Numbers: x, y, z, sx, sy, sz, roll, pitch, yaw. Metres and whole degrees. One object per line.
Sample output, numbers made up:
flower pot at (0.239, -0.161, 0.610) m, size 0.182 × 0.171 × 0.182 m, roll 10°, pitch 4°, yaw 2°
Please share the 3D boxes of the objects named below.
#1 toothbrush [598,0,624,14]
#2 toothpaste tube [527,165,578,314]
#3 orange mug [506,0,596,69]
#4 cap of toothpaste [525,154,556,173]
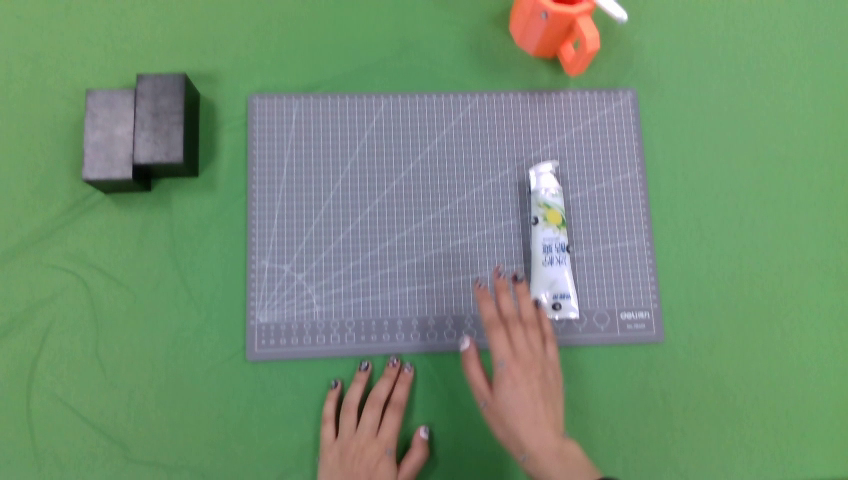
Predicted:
toothbrush at (0.139, -0.298, 0.631) m, size 0.181 × 0.017 × 0.014 m, roll 43°, pitch 78°, yaw 4°
toothpaste tube at (0.134, -0.003, 0.665) m, size 0.055 × 0.034 × 0.164 m, roll -4°, pitch 84°, yaw 3°
orange mug at (0.151, -0.260, 0.678) m, size 0.083 × 0.101 × 0.125 m, roll -23°, pitch 78°, yaw -7°
cap of toothpaste at (0.130, -0.084, 0.673) m, size 0.037 × 0.037 × 0.011 m, roll -15°, pitch 78°, yaw -6°
